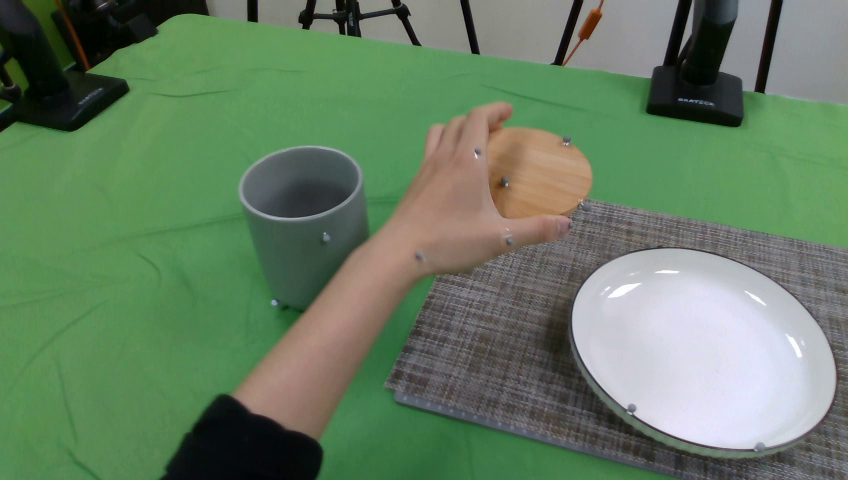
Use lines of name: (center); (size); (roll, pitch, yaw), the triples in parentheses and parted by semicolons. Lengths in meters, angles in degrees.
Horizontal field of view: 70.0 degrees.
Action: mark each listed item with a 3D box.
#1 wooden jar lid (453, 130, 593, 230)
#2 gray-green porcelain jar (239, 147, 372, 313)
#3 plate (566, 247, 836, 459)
wooden jar lid: (0.077, -0.047, 0.476); (0.108, 0.021, 0.107); (1, 48, 0)
gray-green porcelain jar: (-0.103, -0.004, 0.559); (0.106, 0.127, 0.105); (0, 44, 1)
plate: (0.223, 0.090, 0.509); (0.208, 0.039, 0.205); (-1, 44, 1)
